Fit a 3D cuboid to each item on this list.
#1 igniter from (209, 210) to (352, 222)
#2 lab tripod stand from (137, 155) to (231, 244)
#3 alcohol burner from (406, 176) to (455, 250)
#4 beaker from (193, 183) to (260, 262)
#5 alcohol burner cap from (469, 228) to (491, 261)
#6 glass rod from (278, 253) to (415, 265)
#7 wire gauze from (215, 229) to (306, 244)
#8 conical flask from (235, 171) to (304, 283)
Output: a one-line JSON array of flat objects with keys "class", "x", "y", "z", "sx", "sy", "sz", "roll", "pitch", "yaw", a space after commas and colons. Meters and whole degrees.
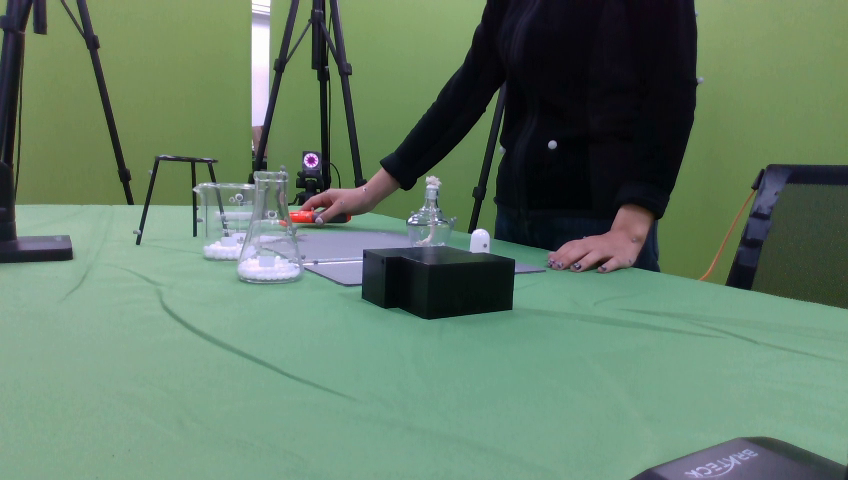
[{"class": "igniter", "x": -0.274, "y": -0.047, "z": 1.183, "sx": 0.278, "sy": 0.025, "sz": 0.057, "roll": -1, "pitch": 2, "yaw": -32}, {"class": "lab tripod stand", "x": -0.358, "y": -0.062, "z": 0.927, "sx": 0.148, "sy": 0.131, "sz": 0.148, "roll": 4, "pitch": 6, "yaw": 0}, {"class": "alcohol burner", "x": 0.012, "y": -0.044, "z": 0.963, "sx": 0.078, "sy": 0.119, "sz": 0.078, "roll": 4, "pitch": 7, "yaw": 0}, {"class": "beaker", "x": -0.262, "y": -0.025, "z": 0.806, "sx": 0.084, "sy": 0.100, "sz": 0.073, "roll": -3, "pitch": 9, "yaw": -30}, {"class": "alcohol burner cap", "x": 0.082, "y": 0.006, "z": 0.878, "sx": 0.034, "sy": 0.048, "sz": 0.034, "roll": 3, "pitch": 6, "yaw": 0}, {"class": "glass rod", "x": -0.097, "y": 0.024, "z": 0.805, "sx": 0.201, "sy": 0.008, "sz": 0.008, "roll": -3, "pitch": 8, "yaw": -33}, {"class": "wire gauze", "x": -0.273, "y": -0.009, "z": 1.013, "sx": 0.122, "sy": 0.011, "sz": 0.124, "roll": -2, "pitch": 9, "yaw": -33}, {"class": "conical flask", "x": -0.172, "y": -0.016, "z": 0.677, "sx": 0.075, "sy": 0.122, "sz": 0.075, "roll": 2, "pitch": 7, "yaw": 0}]
